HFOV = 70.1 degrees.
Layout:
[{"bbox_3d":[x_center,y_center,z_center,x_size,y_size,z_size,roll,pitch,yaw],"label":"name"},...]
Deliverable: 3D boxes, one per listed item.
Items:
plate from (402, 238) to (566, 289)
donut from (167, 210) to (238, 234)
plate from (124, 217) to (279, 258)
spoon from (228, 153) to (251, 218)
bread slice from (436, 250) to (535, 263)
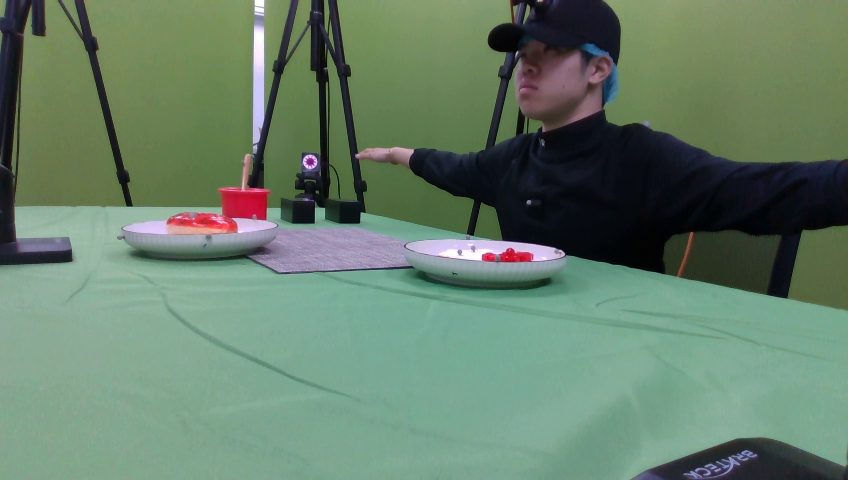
[{"bbox_3d":[0.074,0.029,0.772,0.209,0.038,0.209,3,7,0],"label":"plate"},{"bbox_3d":[-0.321,-0.017,0.882,0.099,0.048,0.099,3,6,0],"label":"donut"},{"bbox_3d":[-0.315,-0.004,0.871,0.208,0.039,0.207,1,8,0],"label":"plate"},{"bbox_3d":[-0.363,-0.107,1.211,0.042,0.021,0.193,-1,47,-7],"label":"spoon"},{"bbox_3d":[0.078,0.031,0.774,0.105,0.019,0.131,-4,11,-44],"label":"bread slice"}]
